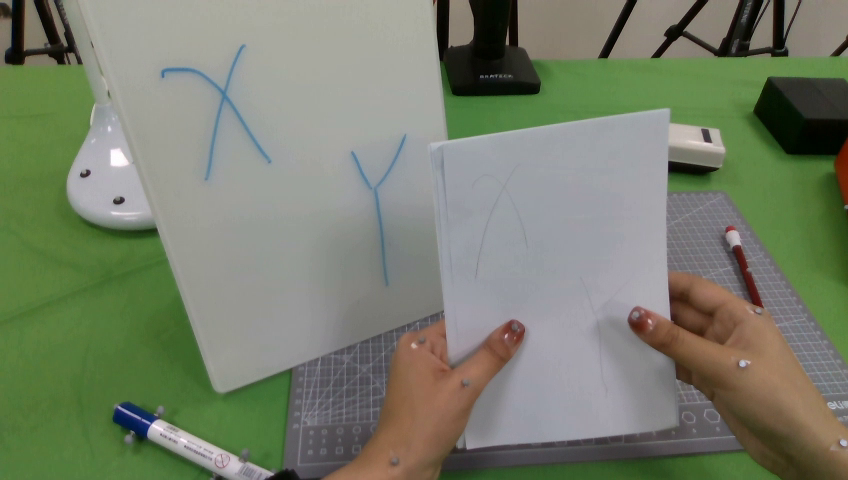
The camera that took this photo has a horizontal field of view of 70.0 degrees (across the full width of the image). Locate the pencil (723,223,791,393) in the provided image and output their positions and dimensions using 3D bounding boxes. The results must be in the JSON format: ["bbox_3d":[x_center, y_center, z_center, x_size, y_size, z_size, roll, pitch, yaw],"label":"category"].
[{"bbox_3d":[0.294,0.052,0.539,0.012,0.012,0.192,5,45,3],"label":"pencil"}]

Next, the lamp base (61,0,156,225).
[{"bbox_3d":[-0.290,-0.132,0.581,0.178,0.182,0.160,26,48,26],"label":"lamp base"}]

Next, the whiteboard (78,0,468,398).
[{"bbox_3d":[-0.106,-0.073,0.479,0.218,0.308,0.142,-18,28,-20],"label":"whiteboard"}]

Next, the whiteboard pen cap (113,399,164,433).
[{"bbox_3d":[-0.202,0.126,0.430,0.033,0.018,0.018,17,45,18],"label":"whiteboard pen cap"}]

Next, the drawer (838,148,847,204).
[{"bbox_3d":[0.530,-0.021,0.583,0.194,0.074,0.210,14,43,13],"label":"drawer"}]

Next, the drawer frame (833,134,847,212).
[{"bbox_3d":[0.532,-0.025,0.586,0.201,0.083,0.212,13,43,12],"label":"drawer frame"}]

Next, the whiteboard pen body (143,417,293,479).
[{"bbox_3d":[-0.150,0.144,0.413,0.140,0.017,0.017,17,45,16],"label":"whiteboard pen body"}]

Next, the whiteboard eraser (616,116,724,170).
[{"bbox_3d":[0.278,-0.110,0.693,0.112,0.042,0.055,9,45,6],"label":"whiteboard eraser"}]
